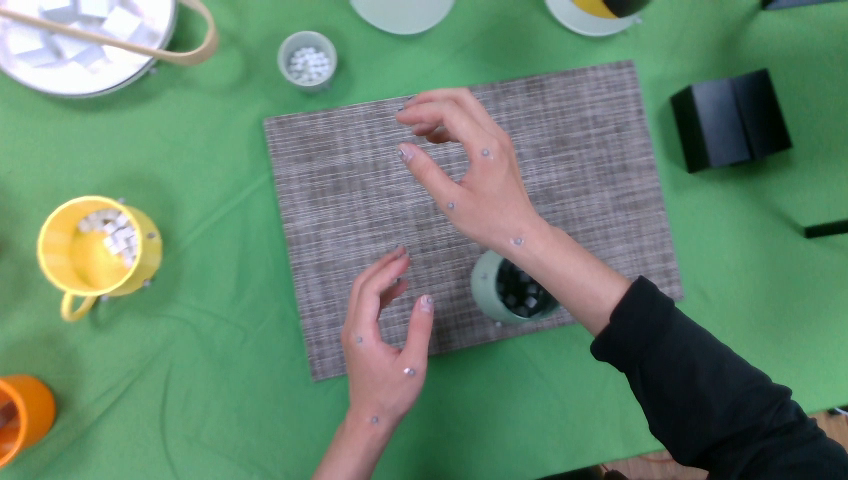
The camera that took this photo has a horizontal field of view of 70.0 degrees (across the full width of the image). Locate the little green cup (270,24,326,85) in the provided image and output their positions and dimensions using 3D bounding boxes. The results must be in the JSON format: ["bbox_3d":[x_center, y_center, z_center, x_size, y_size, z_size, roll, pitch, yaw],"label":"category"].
[{"bbox_3d":[-0.139,-0.206,0.681,0.061,0.038,0.061,0,87,-7],"label":"little green cup"}]

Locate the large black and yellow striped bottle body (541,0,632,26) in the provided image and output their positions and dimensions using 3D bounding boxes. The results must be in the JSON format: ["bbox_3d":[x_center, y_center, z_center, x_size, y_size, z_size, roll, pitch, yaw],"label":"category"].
[{"bbox_3d":[0.203,-0.330,0.655,0.131,0.184,0.130,0,86,-6],"label":"large black and yellow striped bottle body"}]

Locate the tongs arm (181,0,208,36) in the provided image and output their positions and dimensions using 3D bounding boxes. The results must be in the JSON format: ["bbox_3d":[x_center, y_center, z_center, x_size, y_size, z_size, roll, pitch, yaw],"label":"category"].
[{"bbox_3d":[-0.389,-0.327,0.627,0.388,0.028,0.028,31,77,-2],"label":"tongs arm"}]

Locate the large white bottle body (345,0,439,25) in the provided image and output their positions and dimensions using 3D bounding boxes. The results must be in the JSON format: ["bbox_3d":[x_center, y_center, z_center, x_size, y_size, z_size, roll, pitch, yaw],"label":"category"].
[{"bbox_3d":[-0.031,-0.320,0.626,0.131,0.184,0.130,0,86,-6],"label":"large white bottle body"}]

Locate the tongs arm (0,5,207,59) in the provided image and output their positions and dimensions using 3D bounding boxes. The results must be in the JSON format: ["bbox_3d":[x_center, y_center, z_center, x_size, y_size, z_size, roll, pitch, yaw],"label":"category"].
[{"bbox_3d":[-0.420,-0.250,0.618,0.385,0.026,0.050,17,82,-3],"label":"tongs arm"}]

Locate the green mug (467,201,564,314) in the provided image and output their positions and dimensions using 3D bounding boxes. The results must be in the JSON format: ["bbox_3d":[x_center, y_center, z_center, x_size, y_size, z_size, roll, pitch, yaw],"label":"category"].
[{"bbox_3d":[0.100,0.019,0.660,0.093,0.105,0.125,5,86,-6],"label":"green mug"}]

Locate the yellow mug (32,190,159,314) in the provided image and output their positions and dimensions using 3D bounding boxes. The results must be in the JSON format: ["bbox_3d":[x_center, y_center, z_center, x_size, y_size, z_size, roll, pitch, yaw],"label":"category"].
[{"bbox_3d":[-0.344,0.016,0.630,0.100,0.064,0.130,21,86,-6],"label":"yellow mug"}]

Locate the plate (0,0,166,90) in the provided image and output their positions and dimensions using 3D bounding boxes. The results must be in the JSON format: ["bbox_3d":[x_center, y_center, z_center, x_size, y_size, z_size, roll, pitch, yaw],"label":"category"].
[{"bbox_3d":[-0.384,-0.262,0.655,0.208,0.039,0.207,0,87,-7],"label":"plate"}]

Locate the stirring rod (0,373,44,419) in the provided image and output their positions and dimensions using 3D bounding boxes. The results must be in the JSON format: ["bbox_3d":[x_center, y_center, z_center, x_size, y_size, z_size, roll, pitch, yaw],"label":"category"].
[{"bbox_3d":[-0.438,0.191,0.573,0.014,0.006,0.175,39,41,-4],"label":"stirring rod"}]

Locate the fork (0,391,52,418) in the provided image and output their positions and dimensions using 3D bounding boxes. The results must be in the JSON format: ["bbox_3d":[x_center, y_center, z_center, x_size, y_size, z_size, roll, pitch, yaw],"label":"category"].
[{"bbox_3d":[-0.466,0.159,0.566,0.209,0.018,0.028,12,79,-49],"label":"fork"}]
